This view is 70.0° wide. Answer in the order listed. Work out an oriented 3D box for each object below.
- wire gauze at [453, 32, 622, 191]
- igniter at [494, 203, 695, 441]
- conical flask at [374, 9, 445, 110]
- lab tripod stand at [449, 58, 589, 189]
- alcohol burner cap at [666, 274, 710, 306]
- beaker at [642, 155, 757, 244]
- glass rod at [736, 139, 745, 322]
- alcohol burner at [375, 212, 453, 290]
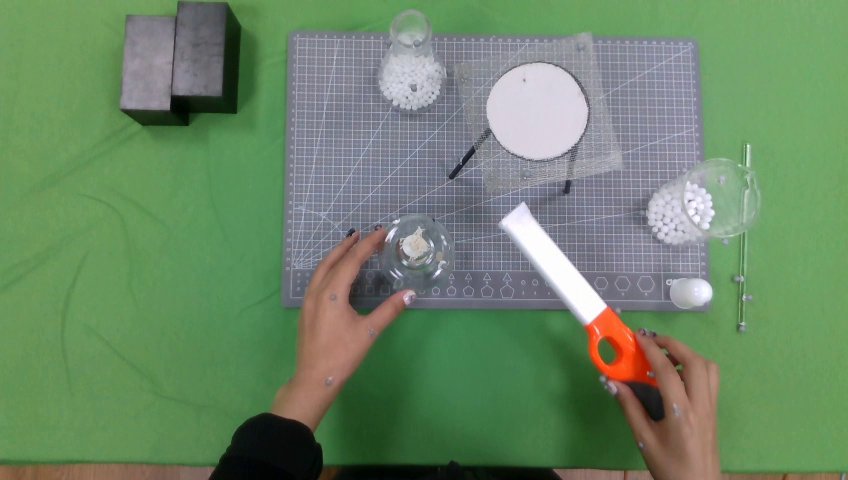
[{"bbox_3d":[0.097,-0.110,0.520,0.125,0.011,0.121,-12,85,-2],"label":"wire gauze"},{"bbox_3d":[0.167,0.079,0.580,0.057,0.025,0.276,-41,92,-13],"label":"igniter"},{"bbox_3d":[-0.015,-0.182,0.598,0.075,0.122,0.075,0,83,-1],"label":"conical flask"},{"bbox_3d":[0.095,-0.104,0.587,0.148,0.131,0.148,0,85,-1],"label":"lab tripod stand"},{"bbox_3d":[0.274,0.050,0.621,0.034,0.048,0.034,0,82,-2],"label":"alcohol burner cap"},{"bbox_3d":[0.269,-0.037,0.602,0.084,0.100,0.074,-36,86,-6],"label":"beaker"},{"bbox_3d":[0.340,-0.012,0.650,0.008,0.008,0.199,4,84,-1],"label":"glass rod"},{"bbox_3d":[-0.010,0.008,0.582,0.078,0.119,0.077,0,82,1],"label":"alcohol burner"}]
